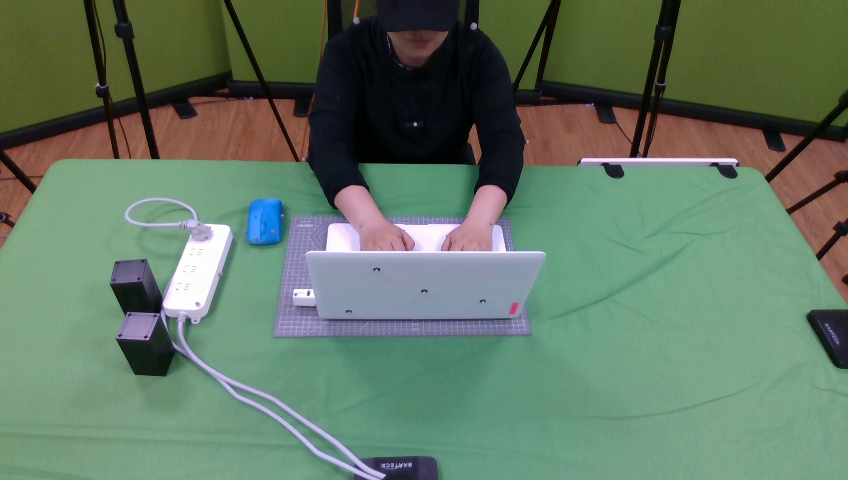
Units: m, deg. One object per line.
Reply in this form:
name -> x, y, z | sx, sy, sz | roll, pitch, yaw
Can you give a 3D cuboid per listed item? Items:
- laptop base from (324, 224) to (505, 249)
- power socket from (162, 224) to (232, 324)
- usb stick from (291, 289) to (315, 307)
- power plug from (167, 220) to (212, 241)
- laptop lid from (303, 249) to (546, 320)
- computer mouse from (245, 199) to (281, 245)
laptop base -> -0.014, 0.056, 1.144 | 0.355, 0.023, 0.234 | 0, 42, -4
power socket -> -0.411, 0.052, 1.106 | 0.072, 0.033, 0.225 | 4, 45, -1
usb stick -> -0.203, 0.102, 1.066 | 0.059, 0.027, 0.021 | 4, 45, -5
power plug -> -0.438, -0.017, 1.143 | 0.072, 0.053, 0.035 | 10, 43, 7
laptop lid -> -0.002, 0.077, 0.962 | 0.357, 0.242, 0.013 | 1, 58, -5
computer mouse -> -0.318, -0.039, 1.201 | 0.063, 0.041, 0.116 | 0, 50, -8
